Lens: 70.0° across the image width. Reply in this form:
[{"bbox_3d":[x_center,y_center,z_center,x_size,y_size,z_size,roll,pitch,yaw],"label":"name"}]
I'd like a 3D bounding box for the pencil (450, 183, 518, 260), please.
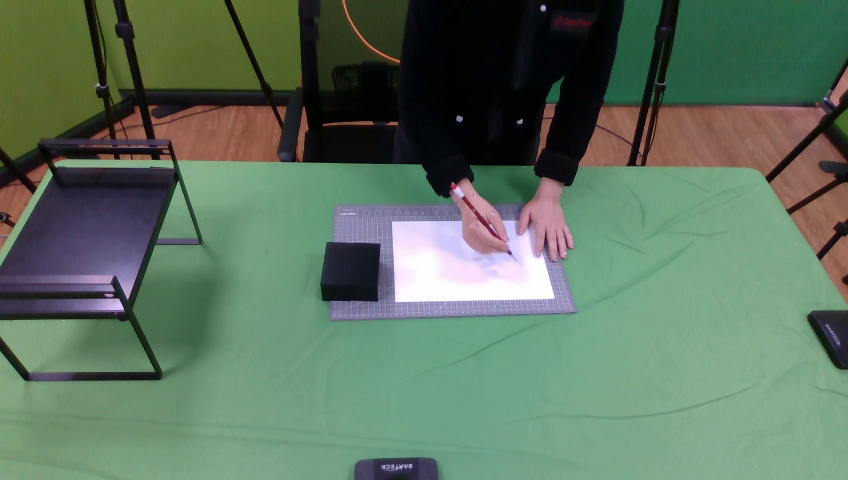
[{"bbox_3d":[0.113,-0.031,1.117,0.194,0.012,0.012,47,49,-15],"label":"pencil"}]
